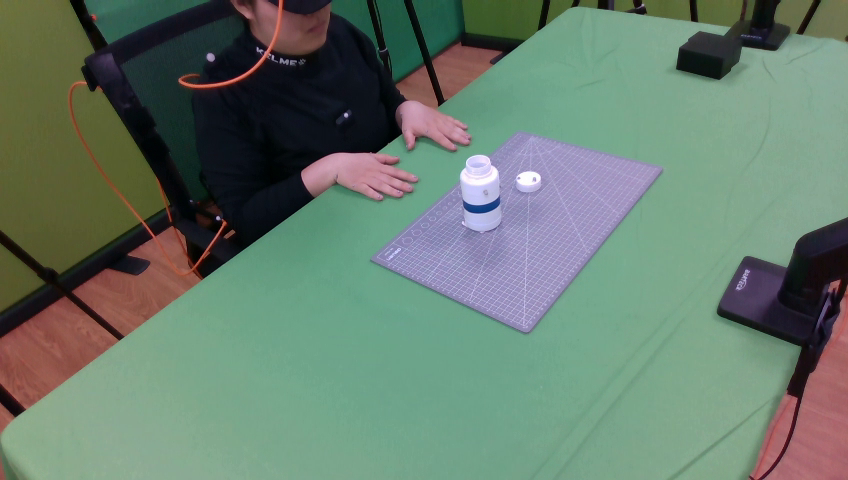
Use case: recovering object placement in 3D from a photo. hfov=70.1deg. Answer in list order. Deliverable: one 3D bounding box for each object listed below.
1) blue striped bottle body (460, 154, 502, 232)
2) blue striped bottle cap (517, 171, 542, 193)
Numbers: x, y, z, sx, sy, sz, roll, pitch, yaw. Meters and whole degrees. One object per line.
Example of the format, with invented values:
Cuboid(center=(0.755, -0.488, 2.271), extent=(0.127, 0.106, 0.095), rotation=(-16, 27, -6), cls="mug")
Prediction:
Cuboid(center=(0.092, -0.078, 0.976), extent=(0.063, 0.121, 0.063), rotation=(-6, 40, 5), cls="blue striped bottle body")
Cuboid(center=(0.187, -0.103, 1.072), extent=(0.044, 0.021, 0.044), rotation=(-5, 42, 5), cls="blue striped bottle cap")
